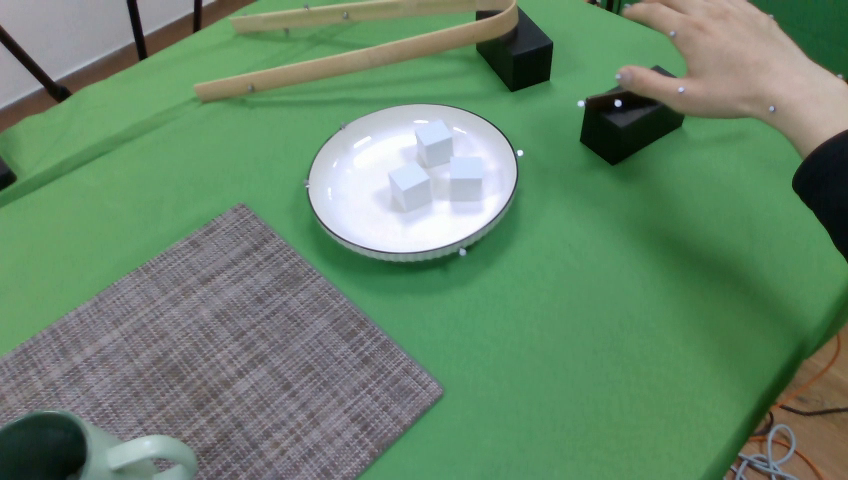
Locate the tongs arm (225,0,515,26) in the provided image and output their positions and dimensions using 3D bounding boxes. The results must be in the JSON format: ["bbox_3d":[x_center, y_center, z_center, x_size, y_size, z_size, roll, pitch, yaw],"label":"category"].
[{"bbox_3d":[-0.080,-0.281,0.746,0.383,0.027,0.050,0,51,16],"label":"tongs arm"}]

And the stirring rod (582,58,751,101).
[{"bbox_3d":[0.242,-0.160,0.604,0.176,0.014,0.005,-11,49,-4],"label":"stirring rod"}]

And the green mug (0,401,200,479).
[{"bbox_3d":[-0.214,0.158,0.401,0.125,0.106,0.091,-19,52,-10],"label":"green mug"}]

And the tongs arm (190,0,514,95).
[{"bbox_3d":[-0.088,-0.218,0.700,0.387,0.028,0.028,-10,46,8],"label":"tongs arm"}]

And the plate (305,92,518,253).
[{"bbox_3d":[-0.011,-0.067,0.604,0.207,0.039,0.205,-2,52,4],"label":"plate"}]
